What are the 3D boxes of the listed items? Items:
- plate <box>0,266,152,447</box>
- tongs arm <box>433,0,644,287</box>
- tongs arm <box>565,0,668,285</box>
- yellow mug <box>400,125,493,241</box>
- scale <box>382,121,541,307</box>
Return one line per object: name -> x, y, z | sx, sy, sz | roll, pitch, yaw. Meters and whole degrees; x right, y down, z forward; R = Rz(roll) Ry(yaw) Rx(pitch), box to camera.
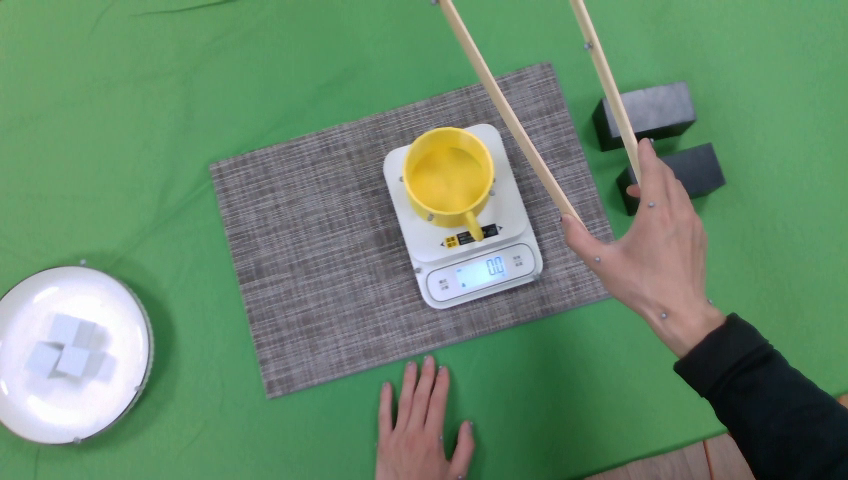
plate -> -0.420, 0.135, 0.716 | 0.207, 0.039, 0.207 | 0, 81, 2
tongs arm -> 0.080, -0.119, 0.543 | 0.028, 0.028, 0.387 | -31, 88, -8
tongs arm -> 0.141, -0.146, 0.546 | 0.051, 0.026, 0.384 | -22, 87, -4
yellow mug -> 0.032, -0.057, 0.678 | 0.100, 0.064, 0.130 | -27, 82, -3
scale -> 0.043, -0.033, 0.721 | 0.149, 0.031, 0.200 | -17, 81, 0
